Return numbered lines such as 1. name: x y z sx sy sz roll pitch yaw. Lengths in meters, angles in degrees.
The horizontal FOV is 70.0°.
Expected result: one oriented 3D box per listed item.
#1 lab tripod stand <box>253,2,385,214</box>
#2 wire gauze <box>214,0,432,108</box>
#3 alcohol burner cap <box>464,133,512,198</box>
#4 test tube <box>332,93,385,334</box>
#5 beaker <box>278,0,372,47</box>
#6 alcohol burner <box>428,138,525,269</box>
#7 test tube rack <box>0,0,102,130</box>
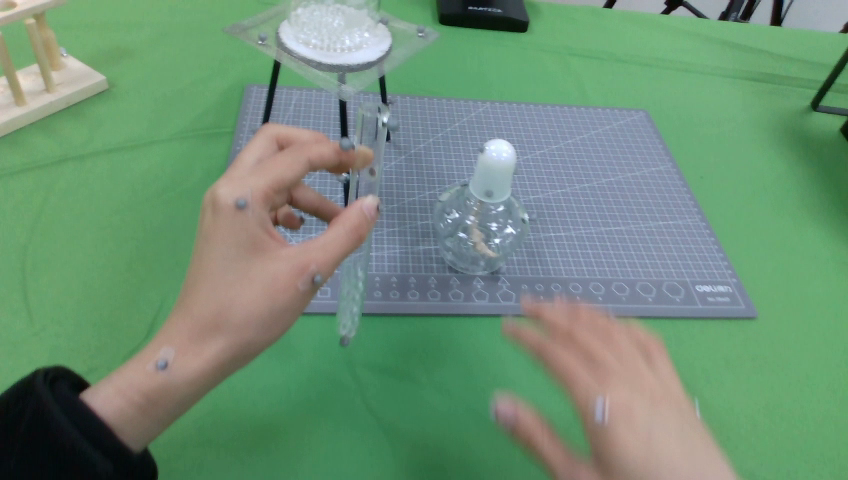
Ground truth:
1. lab tripod stand: -0.081 -0.117 0.516 0.149 0.132 0.147 6 47 -6
2. wire gauze: -0.075 -0.161 0.468 0.124 0.011 0.121 33 53 15
3. alcohol burner cap: 0.049 -0.057 0.446 0.034 0.048 0.033 3 52 -3
4. test tube: -0.037 -0.006 0.330 0.017 0.151 0.017 7 33 -5
5. beaker: -0.073 -0.199 0.436 0.073 0.101 0.084 38 54 22
6. alcohol burner: 0.044 -0.033 0.473 0.078 0.120 0.077 6 46 -6
7. test tube rack: -0.410 -0.132 0.510 0.066 0.086 0.242 31 50 18
